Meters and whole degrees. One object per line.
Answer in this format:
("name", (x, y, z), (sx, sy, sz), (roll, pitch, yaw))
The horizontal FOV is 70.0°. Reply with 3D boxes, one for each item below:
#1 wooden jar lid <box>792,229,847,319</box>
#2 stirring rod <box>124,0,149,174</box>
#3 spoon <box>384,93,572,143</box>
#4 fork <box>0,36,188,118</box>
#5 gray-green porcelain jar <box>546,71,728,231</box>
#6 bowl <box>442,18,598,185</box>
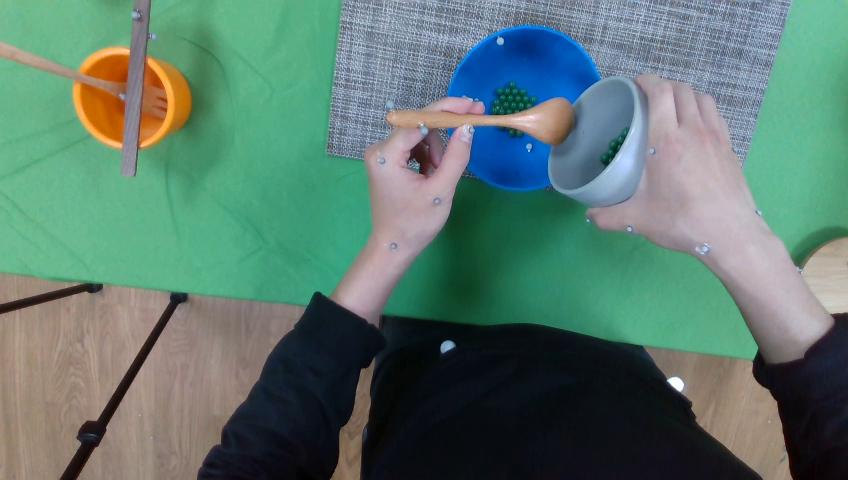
("wooden jar lid", (0.476, 0.039, 0.700), (0.108, 0.020, 0.109), (-1, 107, -2))
("stirring rod", (-0.257, -0.146, 0.542), (0.014, 0.006, 0.177), (10, 105, -4))
("spoon", (0.051, -0.098, 0.483), (0.195, 0.021, 0.042), (-6, 110, -31))
("fork", (-0.311, -0.151, 0.541), (0.209, 0.018, 0.028), (14, 113, -51))
("gray-green porcelain jar", (0.189, -0.072, 0.531), (0.127, 0.105, 0.106), (21, 104, -24))
("bowl", (0.090, -0.134, 0.598), (0.151, 0.076, 0.152), (-1, 106, -2))
